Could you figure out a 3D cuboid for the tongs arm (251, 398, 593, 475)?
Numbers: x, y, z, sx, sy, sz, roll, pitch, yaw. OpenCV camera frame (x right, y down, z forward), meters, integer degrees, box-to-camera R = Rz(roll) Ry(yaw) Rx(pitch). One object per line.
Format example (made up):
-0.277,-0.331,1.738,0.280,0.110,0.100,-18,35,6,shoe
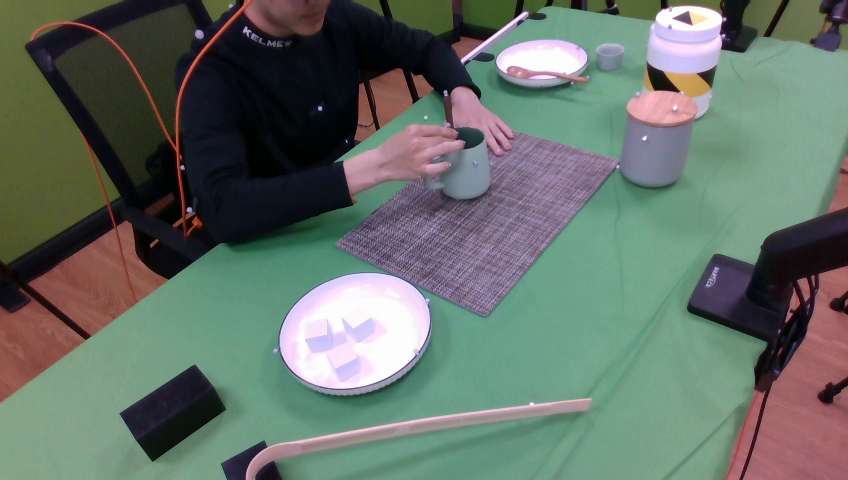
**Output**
0.008,0.212,0.675,0.389,0.028,0.028,-5,46,-11,tongs arm

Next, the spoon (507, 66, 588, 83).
0.265,-0.357,1.311,0.192,0.022,0.042,18,47,38,spoon

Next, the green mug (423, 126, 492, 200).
0.055,-0.125,1.039,0.126,0.105,0.091,-25,44,-19,green mug

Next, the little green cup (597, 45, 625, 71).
0.422,-0.413,1.375,0.061,0.039,0.061,-3,41,3,little green cup

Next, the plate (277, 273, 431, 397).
-0.091,0.129,0.821,0.207,0.039,0.206,-4,40,4,plate

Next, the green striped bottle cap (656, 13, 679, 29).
0.515,-0.463,1.278,0.044,0.020,0.044,-6,42,6,green striped bottle cap

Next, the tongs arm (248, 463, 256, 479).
0.012,0.262,0.615,0.385,0.026,0.050,2,41,-2,tongs arm

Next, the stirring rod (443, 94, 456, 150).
0.047,-0.158,1.000,0.006,0.177,0.014,18,44,32,stirring rod

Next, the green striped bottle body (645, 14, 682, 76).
0.520,-0.424,1.312,0.063,0.120,0.063,-4,40,4,green striped bottle body

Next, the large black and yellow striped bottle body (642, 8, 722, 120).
0.493,-0.334,1.161,0.131,0.185,0.130,-4,41,4,large black and yellow striped bottle body

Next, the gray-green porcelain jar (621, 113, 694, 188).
0.390,-0.161,1.020,0.106,0.127,0.105,-4,41,4,gray-green porcelain jar

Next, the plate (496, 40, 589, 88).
0.269,-0.398,1.381,0.209,0.038,0.208,-4,41,4,plate

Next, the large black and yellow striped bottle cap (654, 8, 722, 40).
0.483,-0.397,1.108,0.115,0.019,0.114,-3,41,3,large black and yellow striped bottle cap

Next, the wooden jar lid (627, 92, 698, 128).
0.384,-0.207,0.980,0.108,0.021,0.108,-6,39,5,wooden jar lid
